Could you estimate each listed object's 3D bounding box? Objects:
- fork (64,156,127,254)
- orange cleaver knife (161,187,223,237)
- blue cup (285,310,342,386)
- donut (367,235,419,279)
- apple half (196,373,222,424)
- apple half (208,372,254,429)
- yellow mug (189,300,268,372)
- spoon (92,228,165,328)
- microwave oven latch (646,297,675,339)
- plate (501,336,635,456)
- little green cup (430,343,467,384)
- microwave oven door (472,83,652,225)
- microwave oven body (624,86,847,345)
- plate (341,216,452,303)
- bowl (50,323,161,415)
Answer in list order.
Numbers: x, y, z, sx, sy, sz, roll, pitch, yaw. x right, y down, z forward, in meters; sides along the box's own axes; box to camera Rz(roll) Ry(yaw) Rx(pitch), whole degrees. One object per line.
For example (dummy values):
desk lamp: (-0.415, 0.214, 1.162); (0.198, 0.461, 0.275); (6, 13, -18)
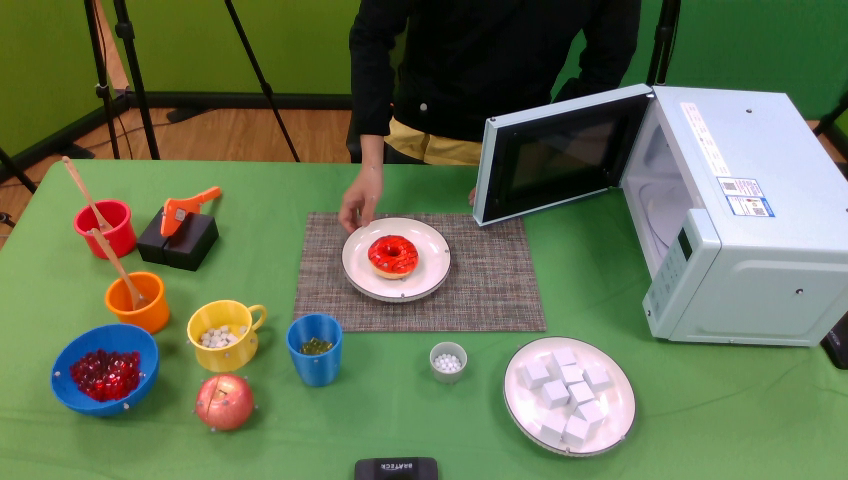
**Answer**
fork: (-0.614, -0.064, 1.130); (0.028, 0.018, 0.207); (-29, 97, -16)
orange cleaver knife: (-0.448, -0.058, 1.180); (0.012, 0.077, 0.211); (13, 17, 6)
blue cup: (-0.170, 0.179, 0.958); (0.093, 0.101, 0.092); (2, 44, -1)
donut: (-0.057, 0.032, 1.131); (0.099, 0.048, 0.098); (3, 45, -3)
apple half: (-0.322, 0.239, 0.906); (0.033, 0.081, 0.081); (7, 46, -1)
apple half: (-0.282, 0.244, 0.908); (0.053, 0.075, 0.080); (7, 43, -1)
yellow mug: (-0.315, 0.149, 1.001); (0.131, 0.064, 0.099); (-33, 55, -31)
spoon: (-0.496, 0.063, 1.014); (0.041, 0.194, 0.021); (-33, 13, -31)
microwave oven latch: (0.412, 0.134, 1.061); (0.030, 0.029, 0.078); (4, 45, 1)
plate: (0.225, 0.248, 0.963); (0.208, 0.039, 0.206); (2, 46, -2)
little green cup: (0.038, 0.203, 0.994); (0.061, 0.039, 0.061); (2, 46, -2)
microwave oven door: (0.272, -0.170, 1.205); (0.356, 0.245, 0.039); (-16, 49, -18)
microwave oven body: (0.567, -0.053, 1.118); (0.326, 0.261, 0.439); (2, 45, -1)
plate: (-0.052, 0.039, 1.140); (0.209, 0.038, 0.208); (2, 46, -2)
bowl: (-0.472, 0.209, 0.924); (0.151, 0.077, 0.150); (3, 45, -2)
